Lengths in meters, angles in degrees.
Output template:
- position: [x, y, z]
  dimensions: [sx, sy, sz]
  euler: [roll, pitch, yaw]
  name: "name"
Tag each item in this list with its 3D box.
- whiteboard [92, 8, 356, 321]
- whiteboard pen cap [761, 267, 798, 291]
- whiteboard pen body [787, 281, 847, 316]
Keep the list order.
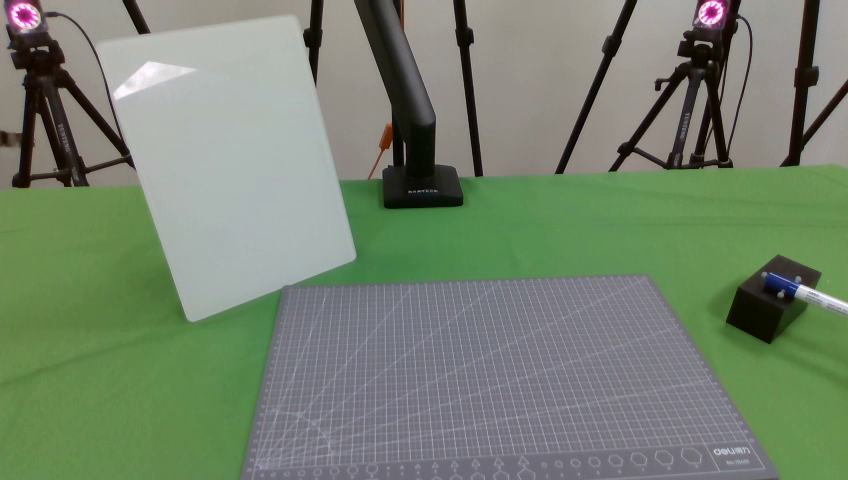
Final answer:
- position: [-0.239, -0.097, 0.731]
  dimensions: [0.218, 0.307, 0.142]
  euler: [-22, 20, -30]
  name: "whiteboard"
- position: [0.380, 0.042, 0.645]
  dimensions: [0.018, 0.018, 0.033]
  euler: [-28, 42, -37]
  name: "whiteboard pen cap"
- position: [0.421, 0.065, 0.613]
  dimensions: [0.139, 0.017, 0.017]
  euler: [28, 41, 36]
  name: "whiteboard pen body"
